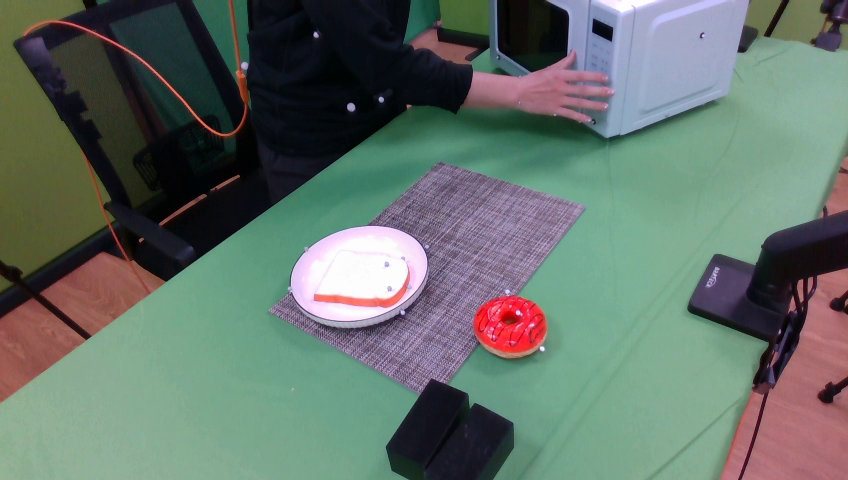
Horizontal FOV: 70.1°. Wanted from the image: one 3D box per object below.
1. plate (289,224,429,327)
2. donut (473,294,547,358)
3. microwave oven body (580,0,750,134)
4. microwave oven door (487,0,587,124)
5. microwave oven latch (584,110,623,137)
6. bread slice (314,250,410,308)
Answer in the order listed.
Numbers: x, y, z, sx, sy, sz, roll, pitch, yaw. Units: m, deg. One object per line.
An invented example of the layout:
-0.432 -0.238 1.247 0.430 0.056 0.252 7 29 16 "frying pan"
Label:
-0.094 0.054 0.902 0.207 0.039 0.206 -4 41 4 "plate"
0.114 0.114 0.803 0.099 0.048 0.098 0 39 1 "donut"
0.382 -0.445 1.246 0.327 0.261 0.437 -22 42 -16 "microwave oven body"
0.229 -0.419 1.230 0.039 0.245 0.352 -21 42 -15 "microwave oven door"
0.337 -0.222 1.143 0.030 0.029 0.078 -21 42 -14 "microwave oven latch"
-0.087 0.057 0.900 0.131 0.019 0.104 5 43 15 "bread slice"
